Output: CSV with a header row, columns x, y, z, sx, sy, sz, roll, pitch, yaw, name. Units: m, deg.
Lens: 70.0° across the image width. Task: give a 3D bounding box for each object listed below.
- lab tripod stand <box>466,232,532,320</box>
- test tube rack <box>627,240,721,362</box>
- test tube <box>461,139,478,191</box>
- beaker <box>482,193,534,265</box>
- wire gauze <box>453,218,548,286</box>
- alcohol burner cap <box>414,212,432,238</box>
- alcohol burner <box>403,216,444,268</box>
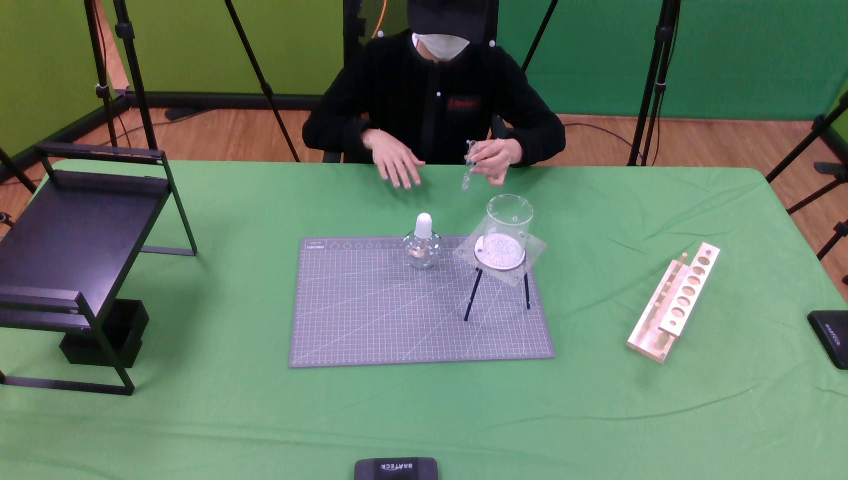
x,y,z,sx,sy,sz,roll,pitch,yaw,name
0.125,0.059,1.065,0.148,0.132,0.147,1,45,0,lab tripod stand
0.452,0.098,1.087,0.066,0.085,0.242,28,51,22,test tube rack
0.085,-0.138,1.150,0.017,0.151,0.017,2,60,-3,test tube
0.135,-0.016,0.979,0.073,0.101,0.084,35,52,28,beaker
0.129,0.014,1.018,0.124,0.011,0.121,26,47,25,wire gauze
0.000,-0.030,1.107,0.034,0.048,0.033,4,41,-3,alcohol burner cap
-0.001,-0.004,1.132,0.078,0.120,0.077,1,46,0,alcohol burner
